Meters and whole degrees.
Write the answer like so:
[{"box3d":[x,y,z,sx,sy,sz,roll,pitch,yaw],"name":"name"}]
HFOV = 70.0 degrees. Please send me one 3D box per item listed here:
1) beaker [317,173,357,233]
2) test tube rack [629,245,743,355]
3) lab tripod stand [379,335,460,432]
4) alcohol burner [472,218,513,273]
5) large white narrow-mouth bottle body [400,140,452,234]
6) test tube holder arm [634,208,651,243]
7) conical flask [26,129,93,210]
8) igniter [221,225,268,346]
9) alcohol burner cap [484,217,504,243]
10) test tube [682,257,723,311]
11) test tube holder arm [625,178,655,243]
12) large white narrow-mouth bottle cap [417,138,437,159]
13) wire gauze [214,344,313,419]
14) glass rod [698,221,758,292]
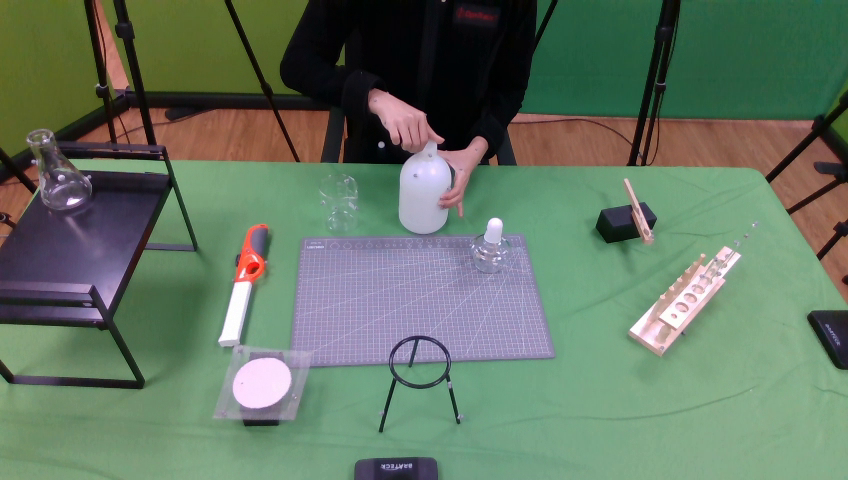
[{"box3d":[-0.166,-0.070,1.198,0.083,0.101,0.074,25,50,18],"name":"beaker"},{"box3d":[0.474,0.095,1.091,0.242,0.085,0.066,-34,56,-31],"name":"test tube rack"},{"box3d":[-0.011,0.214,0.911,0.148,0.132,0.147,1,45,0],"name":"lab tripod stand"},{"box3d":[0.128,0.005,1.132,0.078,0.120,0.077,0,47,0],"name":"alcohol burner"},{"box3d":[0.004,-0.110,1.183,0.102,0.195,0.101,2,46,-2],"name":"large white narrow-mouth bottle body"},{"box3d":[0.428,-0.030,1.189,0.010,0.015,0.087,1,47,-2],"name":"test tube holder arm"},{"box3d":[-0.575,-0.113,0.946,0.075,0.122,0.075,2,46,-2],"name":"conical flask"},{"box3d":[-0.323,0.072,1.100,0.057,0.025,0.274,-6,45,5],"name":"igniter"},{"box3d":[0.130,-0.021,1.107,0.034,0.048,0.033,4,40,-3],"name":"alcohol burner cap"},{"box3d":[0.475,0.080,1.037,0.017,0.151,0.017,1,50,-1],"name":"test tube"},{"box3d":[0.433,-0.062,1.220,0.013,0.015,0.177,1,47,-3],"name":"test tube holder arm"},{"box3d":[0.007,-0.169,1.119,0.038,0.024,0.037,2,46,-2],"name":"large white narrow-mouth bottle cap"},{"box3d":[-0.241,0.213,0.915,0.121,0.011,0.124,5,46,1],"name":"wire gauze"},{"box3d":[0.527,0.035,1.060,0.008,0.200,0.008,5,49,-6],"name":"glass rod"}]
